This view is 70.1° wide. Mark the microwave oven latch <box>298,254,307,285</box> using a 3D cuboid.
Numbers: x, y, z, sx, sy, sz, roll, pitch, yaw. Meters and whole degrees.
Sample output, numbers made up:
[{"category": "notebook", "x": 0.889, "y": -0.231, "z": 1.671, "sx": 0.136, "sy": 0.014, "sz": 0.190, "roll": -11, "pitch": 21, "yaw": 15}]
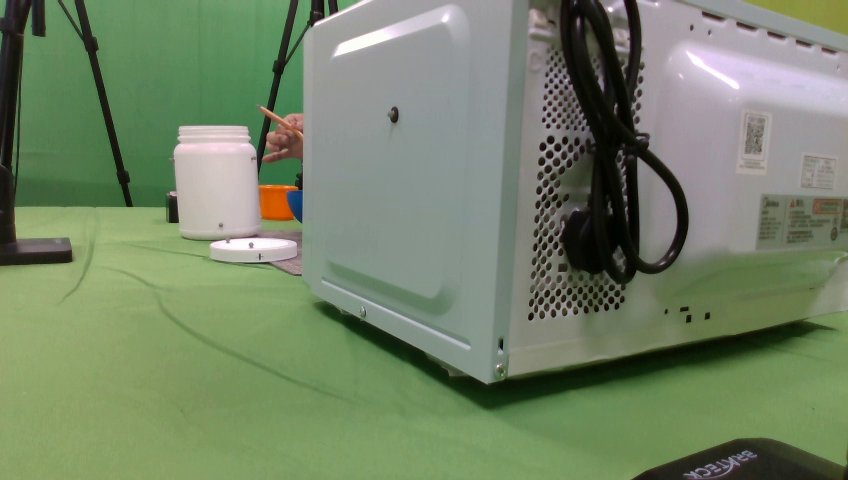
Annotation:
[{"category": "microwave oven latch", "x": -0.081, "y": 0.028, "z": 0.582, "sx": 0.079, "sy": 0.029, "sz": 0.030, "roll": -2, "pitch": 7, "yaw": -33}]

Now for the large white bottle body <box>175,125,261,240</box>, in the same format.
[{"category": "large white bottle body", "x": -0.349, "y": -0.100, "z": 1.025, "sx": 0.131, "sy": 0.184, "sz": 0.130, "roll": -1, "pitch": 9, "yaw": 0}]

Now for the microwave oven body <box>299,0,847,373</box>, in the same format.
[{"category": "microwave oven body", "x": 0.151, "y": -0.055, "z": 0.542, "sx": 0.444, "sy": 0.260, "sz": 0.324, "roll": -2, "pitch": 7, "yaw": -33}]

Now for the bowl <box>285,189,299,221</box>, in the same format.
[{"category": "bowl", "x": -0.180, "y": -0.050, "z": 1.113, "sx": 0.151, "sy": 0.077, "sz": 0.151, "roll": 2, "pitch": 8, "yaw": 0}]

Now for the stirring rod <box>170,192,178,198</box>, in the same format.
[{"category": "stirring rod", "x": -0.465, "y": -0.098, "z": 1.283, "sx": 0.014, "sy": 0.006, "sz": 0.177, "roll": 41, "pitch": 21, "yaw": 17}]

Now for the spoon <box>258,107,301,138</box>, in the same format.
[{"category": "spoon", "x": -0.206, "y": -0.169, "z": 0.995, "sx": 0.193, "sy": 0.021, "sz": 0.042, "roll": 41, "pitch": 16, "yaw": 20}]

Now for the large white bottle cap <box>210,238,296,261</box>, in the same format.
[{"category": "large white bottle cap", "x": -0.236, "y": 0.012, "z": 0.839, "sx": 0.115, "sy": 0.018, "sz": 0.115, "roll": 1, "pitch": 8, "yaw": 0}]

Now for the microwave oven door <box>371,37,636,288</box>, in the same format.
[{"category": "microwave oven door", "x": 0.109, "y": -0.080, "z": 0.686, "sx": 0.358, "sy": 0.243, "sz": 0.039, "roll": -2, "pitch": 9, "yaw": -33}]

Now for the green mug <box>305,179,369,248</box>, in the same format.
[{"category": "green mug", "x": -0.133, "y": -0.044, "z": 0.977, "sx": 0.092, "sy": 0.105, "sz": 0.126, "roll": 6, "pitch": 8, "yaw": 32}]
